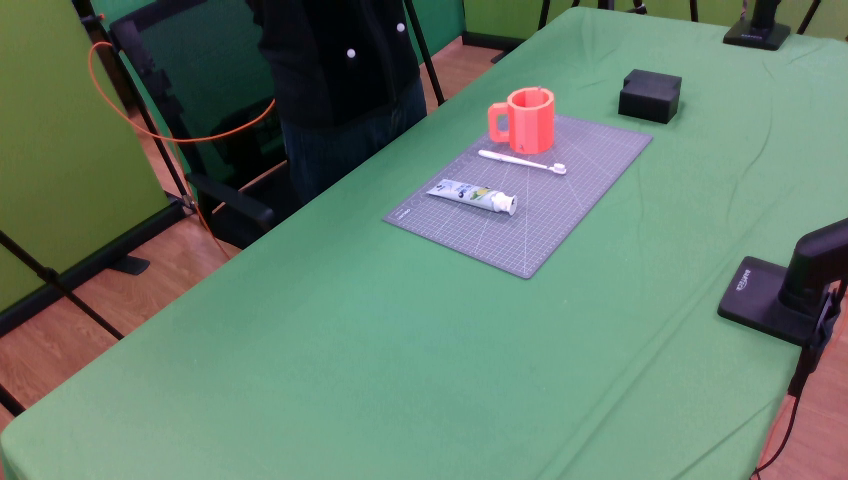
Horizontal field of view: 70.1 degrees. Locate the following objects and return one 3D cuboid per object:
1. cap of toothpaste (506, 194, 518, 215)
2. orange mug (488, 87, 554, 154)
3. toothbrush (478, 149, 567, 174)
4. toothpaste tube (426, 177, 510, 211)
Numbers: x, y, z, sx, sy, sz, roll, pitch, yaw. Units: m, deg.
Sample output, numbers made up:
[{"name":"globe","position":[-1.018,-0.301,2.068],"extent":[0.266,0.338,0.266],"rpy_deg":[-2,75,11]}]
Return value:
[{"name":"cap of toothpaste","position":[0.146,-0.060,1.008],"extent":[0.011,0.037,0.037],"rpy_deg":[14,46,22]},{"name":"orange mug","position":[0.185,-0.227,1.151],"extent":[0.126,0.101,0.083],"rpy_deg":[1,41,5]},{"name":"toothbrush","position":[0.179,-0.149,1.123],"extent":[0.180,0.017,0.014],"rpy_deg":[18,62,30]},{"name":"toothpaste tube","position":[0.083,-0.082,1.054],"extent":[0.164,0.034,0.055],"rpy_deg":[18,40,34]}]
